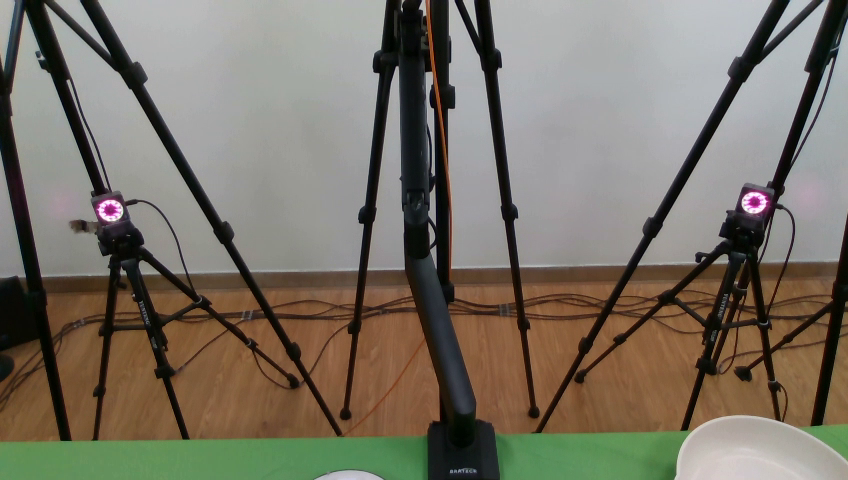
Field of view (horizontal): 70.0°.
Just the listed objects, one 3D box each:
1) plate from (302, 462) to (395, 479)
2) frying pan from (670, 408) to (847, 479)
[{"bbox_3d":[-0.122,0.440,0.925,0.208,0.039,0.205,-1,36,1],"label":"plate"},{"bbox_3d":[0.523,0.444,0.845,0.306,0.103,0.484,1,28,5],"label":"frying pan"}]
